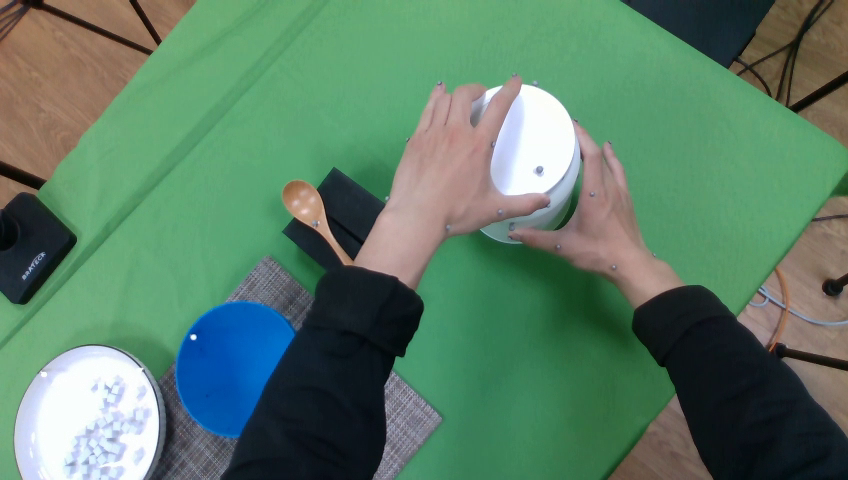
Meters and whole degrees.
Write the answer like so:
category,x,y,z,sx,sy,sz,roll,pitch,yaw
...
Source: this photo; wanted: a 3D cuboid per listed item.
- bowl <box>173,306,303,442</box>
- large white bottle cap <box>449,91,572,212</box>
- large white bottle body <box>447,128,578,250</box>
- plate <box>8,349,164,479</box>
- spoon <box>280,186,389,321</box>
category,x,y,z,sx,sy,sz,roll,pitch,yaw
bowl,-0.204,0.154,0.709,0.151,0.077,0.151,-2,80,10
large white bottle cap,0.080,-0.083,0.565,0.114,0.018,0.114,-2,79,9
large white bottle body,0.095,-0.067,0.647,0.130,0.185,0.130,-2,79,9
plate,-0.412,0.240,0.751,0.209,0.038,0.208,-2,78,11
spoon,-0.103,0.017,0.703,0.041,0.022,0.193,-36,81,-4
